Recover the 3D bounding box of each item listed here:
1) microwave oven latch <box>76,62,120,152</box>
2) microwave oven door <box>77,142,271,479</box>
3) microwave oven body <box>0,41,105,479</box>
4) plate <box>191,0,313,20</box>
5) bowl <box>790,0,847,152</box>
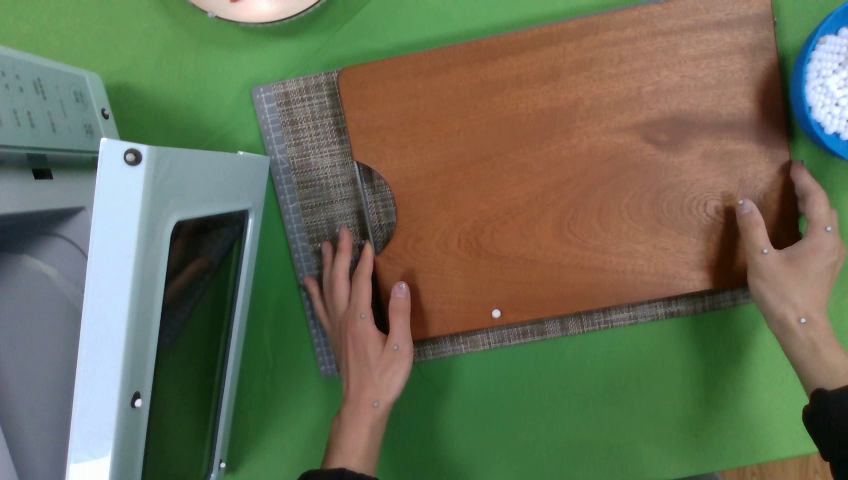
[{"bbox_3d":[-0.312,-0.123,0.566,0.030,0.029,0.079,-13,98,3],"label":"microwave oven latch"},{"bbox_3d":[-0.197,0.099,0.492,0.039,0.243,0.356,10,98,1],"label":"microwave oven door"},{"bbox_3d":[-0.418,0.093,0.502,0.326,0.259,0.442,-13,98,3],"label":"microwave oven body"},{"bbox_3d":[-0.158,-0.307,0.554,0.207,0.039,0.208,0,98,2],"label":"plate"},{"bbox_3d":[0.391,-0.148,0.538,0.151,0.076,0.151,0,98,2],"label":"bowl"}]
